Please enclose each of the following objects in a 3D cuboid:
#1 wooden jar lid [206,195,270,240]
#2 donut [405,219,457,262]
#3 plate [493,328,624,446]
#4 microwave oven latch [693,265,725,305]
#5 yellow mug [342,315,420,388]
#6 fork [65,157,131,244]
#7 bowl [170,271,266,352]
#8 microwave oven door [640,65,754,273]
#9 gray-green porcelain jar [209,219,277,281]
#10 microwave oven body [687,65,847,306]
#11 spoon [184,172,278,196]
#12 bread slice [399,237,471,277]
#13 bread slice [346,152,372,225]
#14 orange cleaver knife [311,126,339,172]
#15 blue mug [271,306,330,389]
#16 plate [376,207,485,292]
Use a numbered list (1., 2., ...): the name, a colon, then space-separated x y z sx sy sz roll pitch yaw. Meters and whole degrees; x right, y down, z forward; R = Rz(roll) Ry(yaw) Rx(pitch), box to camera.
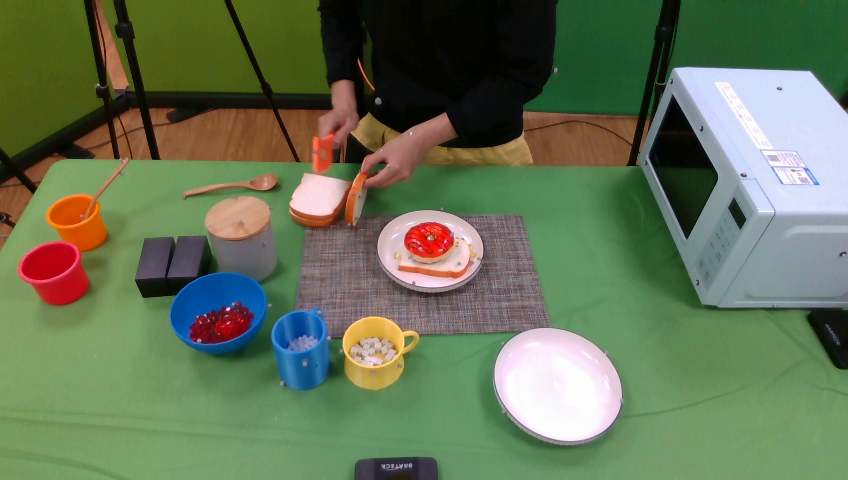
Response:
1. wooden jar lid: -0.319 -0.036 1.046 0.108 0.021 0.107 1 44 0
2. donut: 0.012 0.000 1.140 0.099 0.048 0.098 0 44 0
3. plate: 0.213 0.236 0.974 0.208 0.039 0.206 2 46 -2
4. microwave oven latch: 0.522 0.081 1.115 0.030 0.029 0.078 2 46 -1
5. yellow mug: -0.068 0.177 0.990 0.131 0.064 0.099 -15 50 -19
6. fork: -0.608 -0.074 1.132 0.207 0.019 0.028 -52 48 10
7. bowl: -0.334 0.132 1.006 0.151 0.077 0.150 2 46 -2
8. microwave oven door: 0.522 -0.147 1.193 0.039 0.245 0.353 0 47 -3
9. gray-green porcelain jar: -0.323 0.007 1.092 0.106 0.127 0.105 2 46 -2
10. microwave oven body: 0.669 -0.111 1.176 0.326 0.261 0.439 0 46 -3
11. spoon: -0.405 -0.117 1.275 0.194 0.022 0.041 -8 66 -12
12. bread slice: 0.025 0.025 1.160 0.131 0.019 0.104 7 47 7
13. bread slice: -0.130 -0.096 1.222 0.018 0.107 0.133 13 49 4
14. orange cleaver knife: -0.197 -0.185 1.209 0.012 0.077 0.210 0 19 5
15. blue mug: -0.188 0.163 0.969 0.082 0.106 0.116 15 47 10
16. plate: 0.012 0.021 1.158 0.209 0.038 0.208 2 47 -2
